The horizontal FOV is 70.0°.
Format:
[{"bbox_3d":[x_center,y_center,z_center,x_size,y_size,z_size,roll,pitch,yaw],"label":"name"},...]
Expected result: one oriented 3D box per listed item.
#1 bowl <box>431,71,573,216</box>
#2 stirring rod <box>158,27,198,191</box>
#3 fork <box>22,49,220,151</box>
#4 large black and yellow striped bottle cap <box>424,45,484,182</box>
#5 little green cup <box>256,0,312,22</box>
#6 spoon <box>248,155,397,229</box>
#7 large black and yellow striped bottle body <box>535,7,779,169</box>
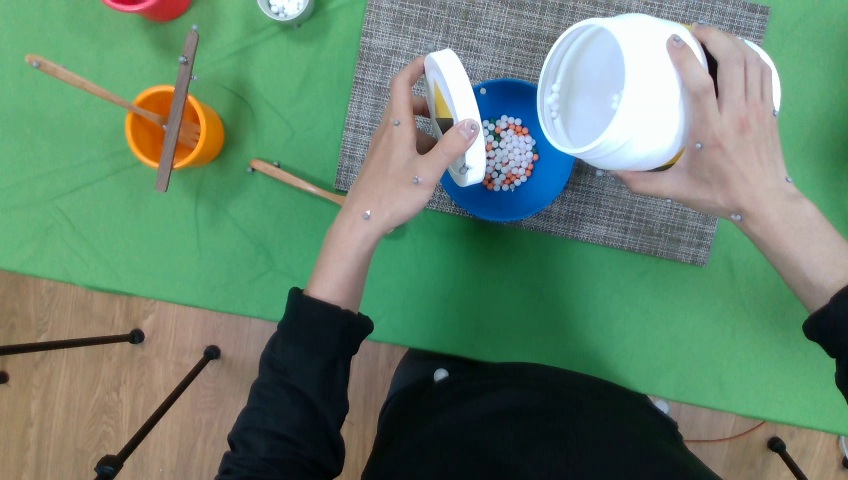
[{"bbox_3d":[0.084,-0.103,0.673,0.151,0.076,0.151,0,96,3],"label":"bowl"},{"bbox_3d":[-0.265,-0.140,0.652,0.014,0.006,0.176,13,97,3],"label":"stirring rod"},{"bbox_3d":[-0.319,-0.148,0.657,0.209,0.018,0.028,25,101,-43],"label":"fork"},{"bbox_3d":[0.024,-0.106,0.515,0.019,0.114,0.115,-16,94,-8],"label":"large black and yellow striped bottle cap"},{"bbox_3d":[-0.158,-0.280,0.690,0.061,0.038,0.061,0,96,4],"label":"little green cup"},{"bbox_3d":[-0.122,-0.062,0.719,0.194,0.021,0.042,23,110,0],"label":"spoon"},{"bbox_3d":[0.205,-0.131,0.542,0.185,0.130,0.131,-2,96,-29],"label":"large black and yellow striped bottle body"}]
